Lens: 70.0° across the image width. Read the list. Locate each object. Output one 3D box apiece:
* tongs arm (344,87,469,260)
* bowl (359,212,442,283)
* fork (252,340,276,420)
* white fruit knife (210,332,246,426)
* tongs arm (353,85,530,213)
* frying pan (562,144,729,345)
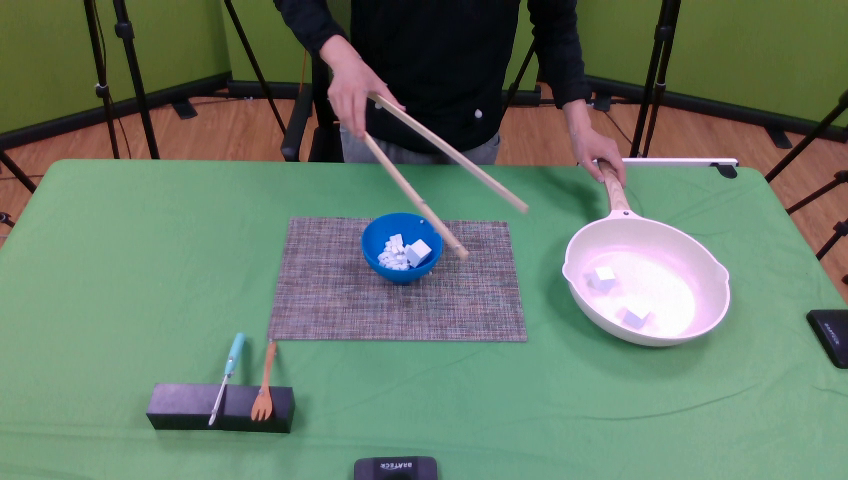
[{"bbox_3d":[-0.031,-0.121,1.025,0.051,0.026,0.383,-34,69,-17],"label":"tongs arm"},{"bbox_3d":[-0.044,0.026,1.125,0.151,0.077,0.150,2,46,-2],"label":"bowl"},{"bbox_3d":[-0.242,0.211,0.932,0.028,0.019,0.206,-8,27,-5],"label":"fork"},{"bbox_3d":[-0.301,0.206,0.930,0.016,0.027,0.206,5,29,-7],"label":"white fruit knife"},{"bbox_3d":[0.027,-0.164,1.052,0.386,0.028,0.028,38,71,15],"label":"tongs arm"},{"bbox_3d":[0.396,-0.008,1.179,0.307,0.103,0.484,1,55,-4],"label":"frying pan"}]
